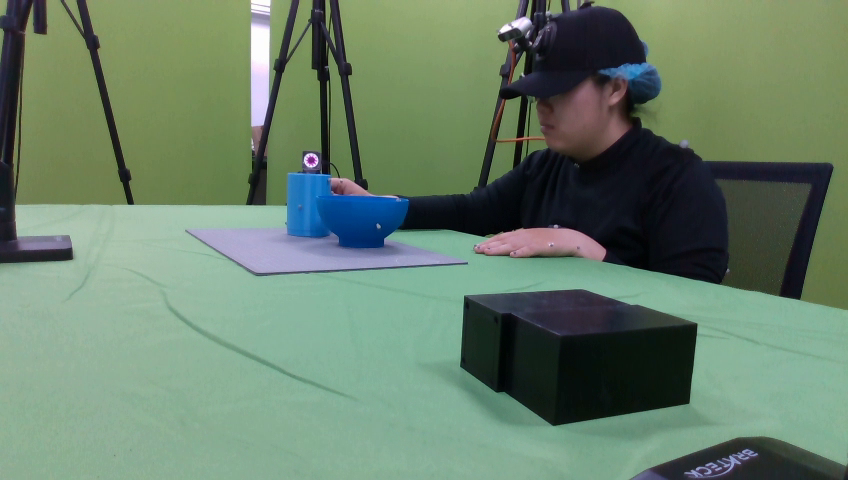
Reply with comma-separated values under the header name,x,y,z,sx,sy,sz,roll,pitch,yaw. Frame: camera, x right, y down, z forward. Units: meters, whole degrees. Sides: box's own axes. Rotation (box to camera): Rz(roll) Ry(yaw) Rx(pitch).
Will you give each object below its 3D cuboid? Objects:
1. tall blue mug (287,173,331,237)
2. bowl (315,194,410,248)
name,x,y,z,sx,sy,sz,roll,pitch,yaw
tall blue mug,-0.207,-0.066,1.088,0.078,0.108,0.107,0,8,-12
bowl,-0.100,-0.030,0.971,0.151,0.077,0.151,2,7,0
